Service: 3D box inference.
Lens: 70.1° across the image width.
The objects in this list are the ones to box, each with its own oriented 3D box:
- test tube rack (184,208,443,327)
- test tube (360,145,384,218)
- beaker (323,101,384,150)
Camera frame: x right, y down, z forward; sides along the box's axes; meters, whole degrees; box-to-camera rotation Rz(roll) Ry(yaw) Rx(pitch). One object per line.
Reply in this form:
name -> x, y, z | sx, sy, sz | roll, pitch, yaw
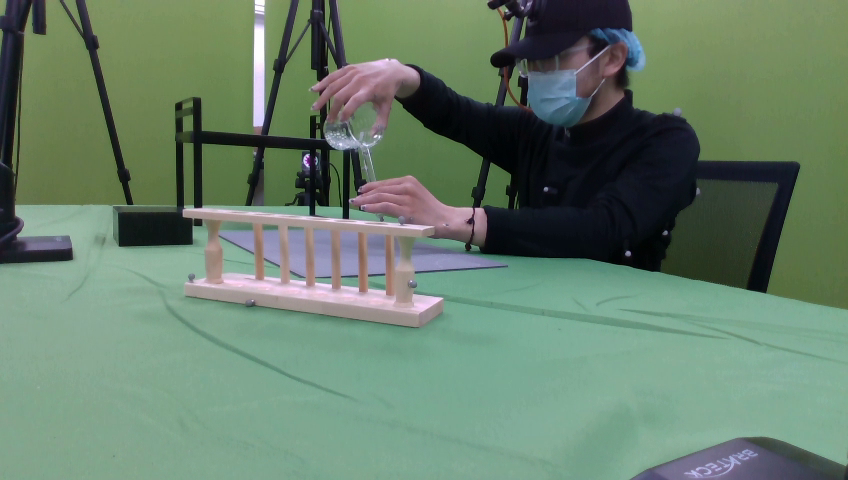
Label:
test tube rack -> -0.106, 0.019, 0.570 | 0.241, 0.085, 0.067 | 5, 8, 20
test tube -> -0.087, -0.098, 1.004 | 0.017, 0.149, 0.017 | -11, -31, -7
beaker -> -0.129, -0.198, 1.079 | 0.074, 0.084, 0.100 | 2, 0, -37
